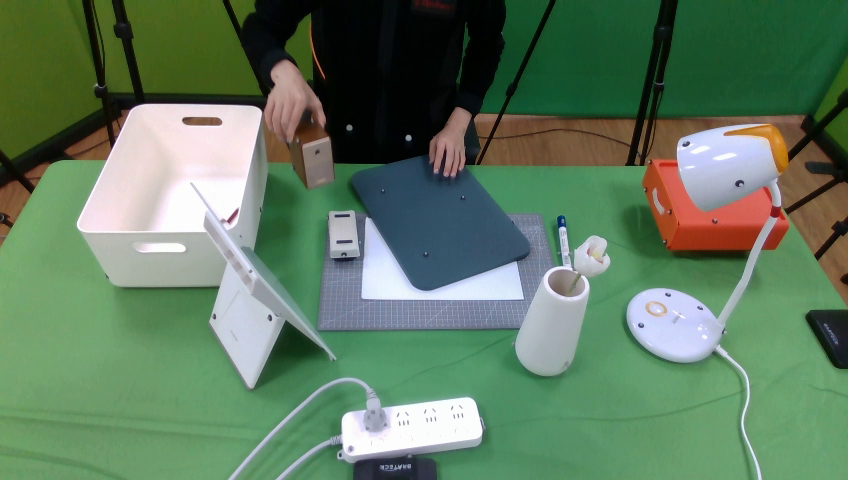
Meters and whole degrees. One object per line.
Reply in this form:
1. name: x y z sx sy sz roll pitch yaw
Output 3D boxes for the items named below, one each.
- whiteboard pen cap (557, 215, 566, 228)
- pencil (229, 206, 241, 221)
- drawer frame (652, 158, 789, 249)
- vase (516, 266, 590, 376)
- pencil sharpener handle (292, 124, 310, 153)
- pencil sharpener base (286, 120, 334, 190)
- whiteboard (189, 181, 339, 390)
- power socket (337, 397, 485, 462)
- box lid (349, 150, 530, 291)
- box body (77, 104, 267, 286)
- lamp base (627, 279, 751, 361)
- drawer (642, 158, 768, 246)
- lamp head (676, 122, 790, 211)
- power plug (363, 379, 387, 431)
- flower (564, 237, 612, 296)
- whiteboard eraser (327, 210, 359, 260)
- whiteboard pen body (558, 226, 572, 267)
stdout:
1. whiteboard pen cap: 0.284 -0.034 1.246 0.018 0.018 0.033 4 52 -1
2. pencil: -0.402 -0.008 1.176 0.012 0.012 0.193 14 44 9
3. drawer frame: 0.571 -0.075 1.214 0.214 0.083 0.200 0 46 -1
4. vase: 0.208 0.132 0.964 0.098 0.201 0.097 3 46 -3
5. pencil sharpener handle: -0.244 -0.201 1.170 0.036 0.068 0.030 -14 47 -29
6. pencil sharpener base: -0.216 -0.161 1.150 0.061 0.107 0.076 -22 50 -22
7. whiteboard: -0.292 0.096 0.929 0.144 0.307 0.216 -37 57 -10
8. power socket: -0.018 0.285 0.915 0.227 0.033 0.071 -5 46 -8
9. box lid: 0.025 -0.056 1.260 0.263 0.015 0.369 -18 49 -20
10. box body: -0.446 -0.088 1.150 0.254 0.161 0.361 -1 46 -5
11. lamp base: 0.459 0.100 1.027 0.178 0.181 0.160 27 51 17
12. drawer: 0.565 -0.076 1.211 0.212 0.073 0.193 2 45 -2
13. lamp head: 0.423 -0.104 0.819 0.122 0.113 0.112 -13 33 40
14. power plug: -0.072 0.252 0.910 0.035 0.053 0.072 3 45 -1
15. flower: 0.206 0.088 0.893 0.038 0.363 0.044 -16 67 -9
16. whiteboard eraser: -0.158 -0.009 1.176 0.055 0.042 0.112 -6 47 -7
17. whiteboard pen body: 0.280 0.010 1.208 0.017 0.017 0.140 3 50 -1
